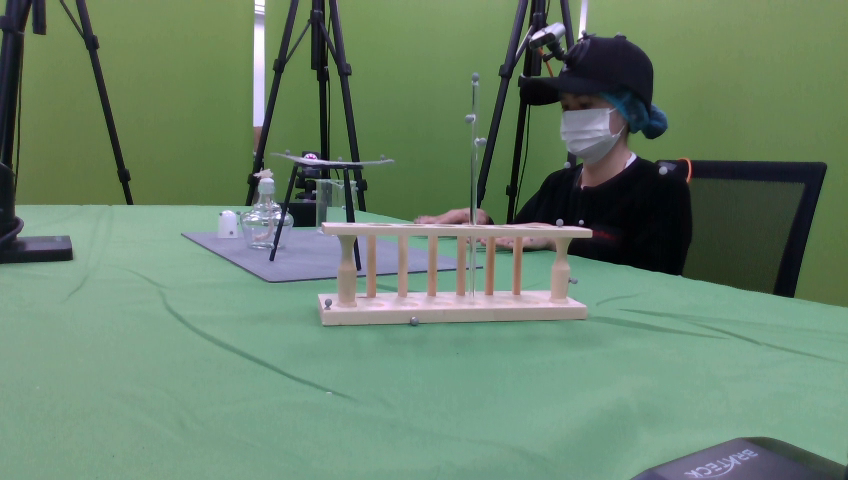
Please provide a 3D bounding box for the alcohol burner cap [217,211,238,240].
[{"bbox_3d":[-0.323,-0.024,0.994,0.034,0.048,0.034,3,8,0],"label":"alcohol burner cap"}]

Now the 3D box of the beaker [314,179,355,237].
[{"bbox_3d":[-0.162,-0.058,1.094,0.074,0.100,0.083,0,9,-21],"label":"beaker"}]

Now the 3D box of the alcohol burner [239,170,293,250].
[{"bbox_3d":[-0.237,-0.045,0.904,0.078,0.119,0.078,1,8,0],"label":"alcohol burner"}]

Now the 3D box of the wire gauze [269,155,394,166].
[{"bbox_3d":[-0.121,-0.102,0.785,0.122,0.011,0.124,-3,10,-39],"label":"wire gauze"}]

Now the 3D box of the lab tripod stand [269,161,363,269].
[{"bbox_3d":[-0.125,-0.036,0.794,0.148,0.131,0.148,5,7,0],"label":"lab tripod stand"}]

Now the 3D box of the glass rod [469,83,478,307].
[{"bbox_3d":[0.043,-0.033,0.523,0.008,0.199,0.008,-1,14,1],"label":"glass rod"}]

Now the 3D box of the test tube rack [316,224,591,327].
[{"bbox_3d":[0.026,0.028,0.555,0.243,0.085,0.066,1,7,-15],"label":"test tube rack"}]
